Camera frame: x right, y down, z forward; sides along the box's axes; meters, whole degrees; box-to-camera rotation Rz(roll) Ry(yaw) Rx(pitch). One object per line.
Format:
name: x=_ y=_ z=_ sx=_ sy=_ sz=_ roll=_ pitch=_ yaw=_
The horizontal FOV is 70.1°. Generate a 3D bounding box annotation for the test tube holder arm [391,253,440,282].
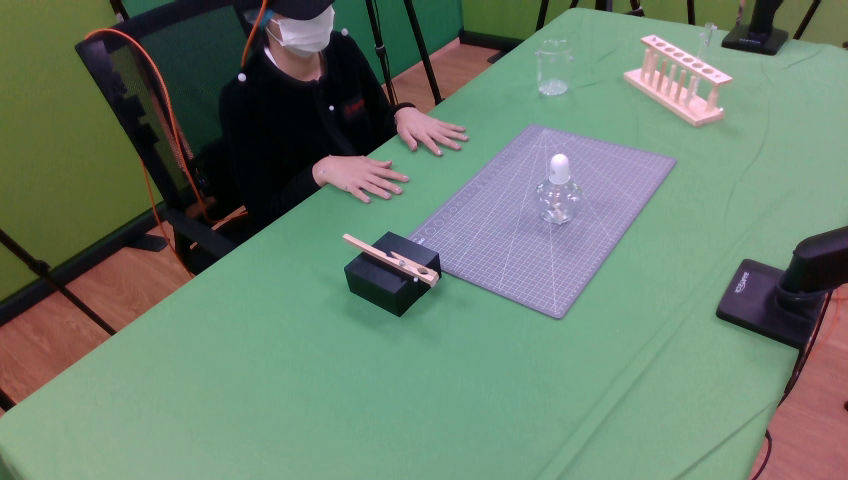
test tube holder arm: x=-0.015 y=0.039 z=0.858 sx=0.087 sy=0.015 sz=0.010 roll=22 pitch=57 yaw=32

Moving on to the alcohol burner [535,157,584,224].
alcohol burner: x=0.217 y=-0.085 z=0.967 sx=0.078 sy=0.119 sz=0.077 roll=-3 pitch=41 yaw=3

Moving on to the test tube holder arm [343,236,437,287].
test tube holder arm: x=-0.053 y=0.028 z=0.879 sx=0.177 sy=0.015 sz=0.013 roll=22 pitch=57 yaw=32

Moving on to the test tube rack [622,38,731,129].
test tube rack: x=0.506 y=-0.325 z=1.234 sx=0.067 sy=0.085 sz=0.240 roll=-18 pitch=41 yaw=-11

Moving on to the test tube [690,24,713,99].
test tube: x=0.534 y=-0.342 z=1.173 sx=0.017 sy=0.151 sz=0.017 roll=-3 pitch=41 yaw=3

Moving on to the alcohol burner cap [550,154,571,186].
alcohol burner cap: x=0.212 y=-0.112 z=0.944 sx=0.034 sy=0.048 sz=0.033 roll=-7 pitch=44 yaw=7

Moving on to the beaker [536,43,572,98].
beaker: x=0.280 y=-0.368 z=1.311 sx=0.074 sy=0.101 sz=0.084 roll=4 pitch=41 yaw=14
